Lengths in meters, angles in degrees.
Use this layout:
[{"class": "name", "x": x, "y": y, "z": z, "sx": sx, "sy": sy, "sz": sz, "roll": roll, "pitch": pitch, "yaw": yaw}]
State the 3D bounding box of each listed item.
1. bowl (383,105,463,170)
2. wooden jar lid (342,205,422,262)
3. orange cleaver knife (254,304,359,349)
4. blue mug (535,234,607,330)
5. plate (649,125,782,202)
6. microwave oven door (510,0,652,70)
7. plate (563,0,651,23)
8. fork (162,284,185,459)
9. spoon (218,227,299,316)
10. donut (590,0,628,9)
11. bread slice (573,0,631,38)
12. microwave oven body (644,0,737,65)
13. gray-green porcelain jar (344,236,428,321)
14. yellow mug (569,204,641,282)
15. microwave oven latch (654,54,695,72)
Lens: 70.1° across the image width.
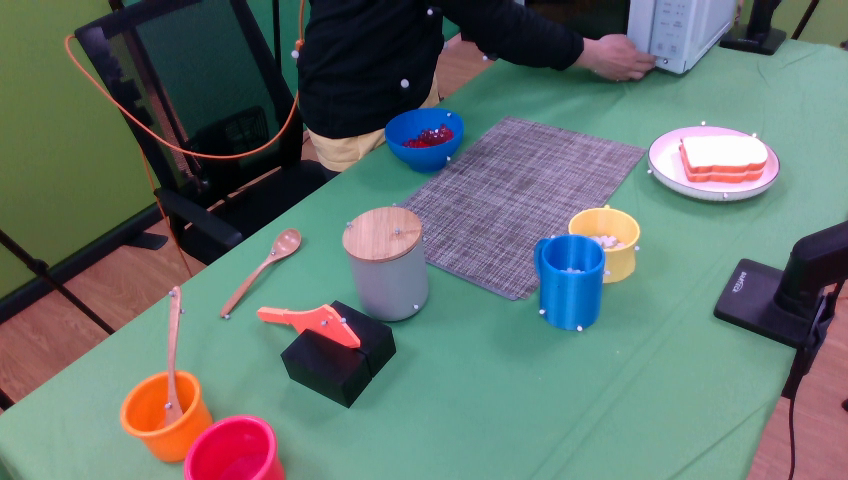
[{"class": "bowl", "x": 0.002, "y": -0.184, "z": 1.142, "sx": 0.151, "sy": 0.077, "sz": 0.150, "roll": -4, "pitch": 40, "yaw": 4}, {"class": "wooden jar lid", "x": -0.056, "y": -0.005, "z": 0.808, "sx": 0.108, "sy": 0.021, "sz": 0.108, "roll": -6, "pitch": 41, "yaw": 6}, {"class": "orange cleaver knife", "x": -0.162, "y": 0.115, "z": 0.813, "sx": 0.210, "sy": 0.077, "sz": 0.012, "roll": -4, "pitch": 32, "yaw": 46}, {"class": "blue mug", "x": 0.190, "y": 0.048, "z": 0.824, "sx": 0.082, "sy": 0.106, "sz": 0.115, "roll": -26, "pitch": 44, "yaw": -20}, {"class": "plate", "x": 0.493, "y": -0.127, "z": 1.036, "sx": 0.207, "sy": 0.039, "sz": 0.206, "roll": -4, "pitch": 41, "yaw": 4}, {"class": "microwave oven door", "x": 0.344, "y": -0.534, "z": 1.344, "sx": 0.353, "sy": 0.245, "sz": 0.039, "roll": 27, "pitch": 52, "yaw": 33}, {"class": "plate", "x": 0.441, "y": -0.573, "z": 1.455, "sx": 0.209, "sy": 0.038, "sz": 0.208, "roll": -6, "pitch": 42, "yaw": 6}, {"class": "fork", "x": -0.303, "y": 0.157, "z": 0.733, "sx": 0.028, "sy": 0.019, "sz": 0.207, "roll": -3, "pitch": 84, "yaw": 12}, {"class": "spoon", "x": -0.261, "y": 0.046, "z": 0.954, "sx": 0.041, "sy": 0.021, "sz": 0.194, "roll": 27, "pitch": 48, "yaw": 10}, {"class": "donut", "x": 0.438, "y": -0.585, "z": 1.434, "sx": 0.099, "sy": 0.048, "sz": 0.098, "roll": -2, "pitch": 53, "yaw": 3}, {"class": "bread slice", "x": 0.428, "y": -0.557, "z": 1.480, "sx": 0.105, "sy": 0.019, "sz": 0.131, "roll": -27, "pitch": 70, "yaw": -20}, {"class": "microwave oven body", "x": 0.475, "y": -0.601, "z": 1.411, "sx": 0.438, "sy": 0.261, "sz": 0.327, "roll": 23, "pitch": 50, "yaw": 32}, {"class": "gray-green porcelain jar", "x": -0.050, "y": 0.042, "z": 0.849, "sx": 0.106, "sy": 0.127, "sz": 0.105, "roll": -4, "pitch": 41, "yaw": 4}, {"class": "yellow mug", "x": 0.268, "y": -0.005, "z": 0.904, "sx": 0.099, "sy": 0.064, "sz": 0.130, "roll": 7, "pitch": 41, "yaw": 15}, {"class": "microwave oven latch", "x": 0.537, "y": -0.387, "z": 1.302, "sx": 0.030, "sy": 0.029, "sz": 0.078, "roll": -31, "pitch": 46, "yaw": -24}]
